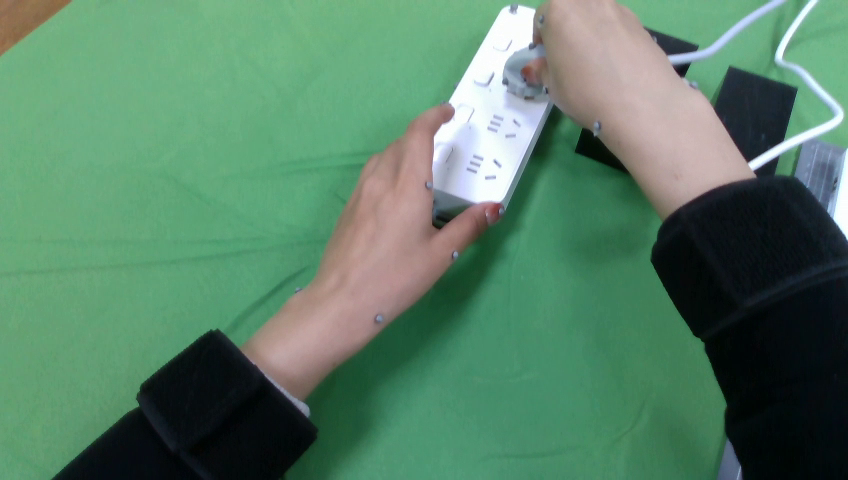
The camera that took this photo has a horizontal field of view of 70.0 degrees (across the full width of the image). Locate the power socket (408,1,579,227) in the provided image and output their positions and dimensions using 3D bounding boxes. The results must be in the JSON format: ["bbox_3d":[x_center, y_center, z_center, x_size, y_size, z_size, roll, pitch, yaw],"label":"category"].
[{"bbox_3d":[0.058,-0.106,0.468,0.072,0.033,0.225,21,60,11],"label":"power socket"}]

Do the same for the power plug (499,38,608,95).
[{"bbox_3d":[0.089,-0.117,0.441,0.072,0.053,0.035,32,70,12],"label":"power plug"}]

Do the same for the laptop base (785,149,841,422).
[{"bbox_3d":[0.415,0.084,0.366,0.353,0.023,0.234,23,65,13],"label":"laptop base"}]

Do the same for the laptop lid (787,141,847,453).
[{"bbox_3d":[0.414,0.080,0.355,0.355,0.013,0.240,24,64,14],"label":"laptop lid"}]

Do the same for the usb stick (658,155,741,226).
[{"bbox_3d":[0.171,-0.028,0.386,0.027,0.059,0.021,-28,73,-19],"label":"usb stick"}]
